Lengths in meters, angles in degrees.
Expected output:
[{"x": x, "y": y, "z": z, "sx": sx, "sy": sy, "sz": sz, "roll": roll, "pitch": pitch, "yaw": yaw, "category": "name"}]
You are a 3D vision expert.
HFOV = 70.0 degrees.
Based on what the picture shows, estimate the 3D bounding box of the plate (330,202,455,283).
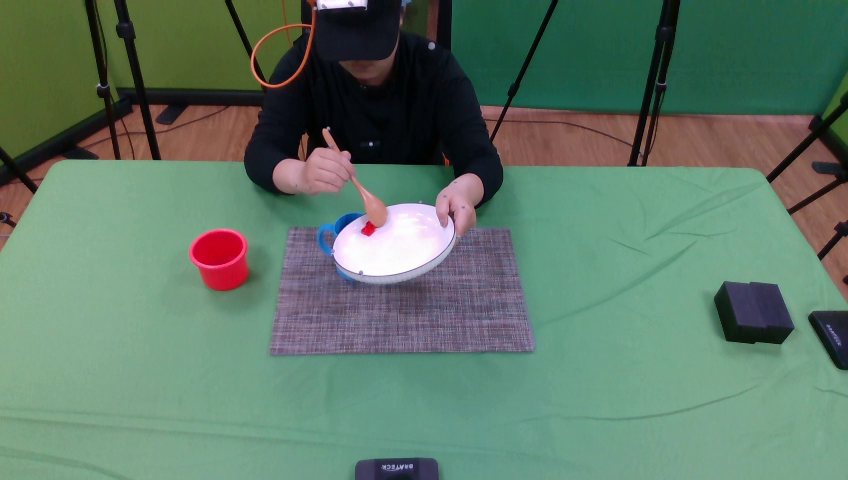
[{"x": -0.050, "y": 0.007, "z": 0.999, "sx": 0.207, "sy": 0.039, "sz": 0.206, "roll": -8, "pitch": 34, "yaw": 6, "category": "plate"}]

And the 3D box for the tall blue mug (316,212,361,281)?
[{"x": -0.142, "y": 0.014, "z": 1.109, "sx": 0.107, "sy": 0.108, "sz": 0.077, "roll": -4, "pitch": 47, "yaw": -8, "category": "tall blue mug"}]

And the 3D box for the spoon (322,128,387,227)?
[{"x": -0.122, "y": -0.107, "z": 1.044, "sx": 0.041, "sy": 0.021, "sz": 0.194, "roll": -39, "pitch": 100, "yaw": -29, "category": "spoon"}]
